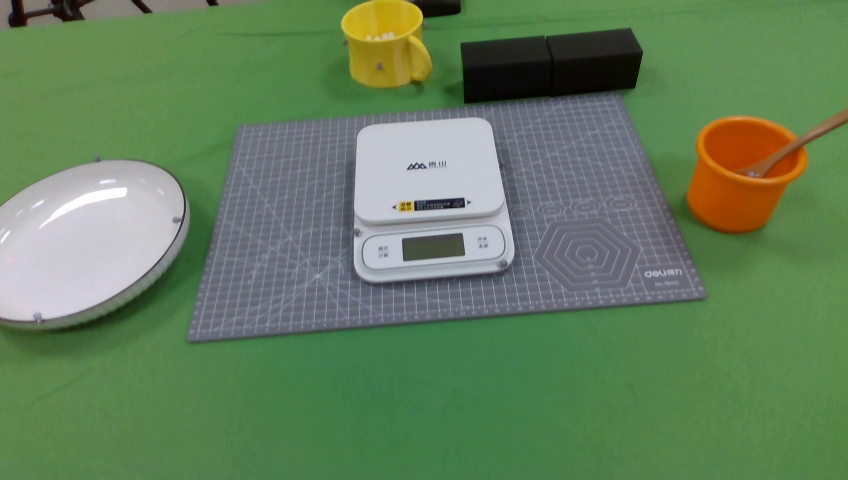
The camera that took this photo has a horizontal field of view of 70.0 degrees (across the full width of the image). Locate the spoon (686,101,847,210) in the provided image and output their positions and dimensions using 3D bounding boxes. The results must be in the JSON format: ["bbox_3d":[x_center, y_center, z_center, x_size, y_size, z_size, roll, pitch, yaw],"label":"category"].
[{"bbox_3d":[0.321,-0.084,0.529,0.022,0.194,0.041,24,44,-35],"label":"spoon"}]

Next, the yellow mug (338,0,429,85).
[{"bbox_3d":[-0.041,-0.243,0.750,0.129,0.064,0.100,35,61,28],"label":"yellow mug"}]

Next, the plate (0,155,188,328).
[{"bbox_3d":[-0.330,0.000,0.585,0.209,0.038,0.207,-2,50,2],"label":"plate"}]

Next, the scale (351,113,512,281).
[{"bbox_3d":[0.002,-0.050,0.600,0.149,0.032,0.199,-5,50,1],"label":"scale"}]
